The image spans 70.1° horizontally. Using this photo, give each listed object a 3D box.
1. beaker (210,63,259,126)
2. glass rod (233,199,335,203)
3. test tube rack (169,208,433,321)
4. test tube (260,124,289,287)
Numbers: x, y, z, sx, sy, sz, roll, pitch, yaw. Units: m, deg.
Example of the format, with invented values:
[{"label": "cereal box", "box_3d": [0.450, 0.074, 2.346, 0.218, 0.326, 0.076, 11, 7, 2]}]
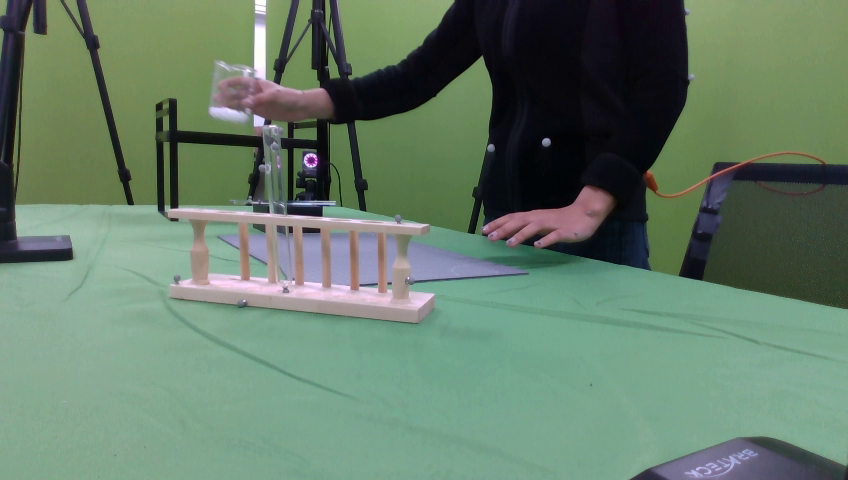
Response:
[{"label": "beaker", "box_3d": [-0.341, -0.259, 1.083, 0.074, 0.100, 0.084, 9, 8, -9]}, {"label": "glass rod", "box_3d": [-0.264, -0.076, 1.160, 0.201, 0.008, 0.008, -2, 9, -31]}, {"label": "test tube rack", "box_3d": [-0.115, 0.017, 0.574, 0.242, 0.085, 0.067, 4, 8, 13]}, {"label": "test tube", "box_3d": [-0.137, -0.031, 0.556, 0.017, 0.150, 0.017, -3, 6, 1]}]
